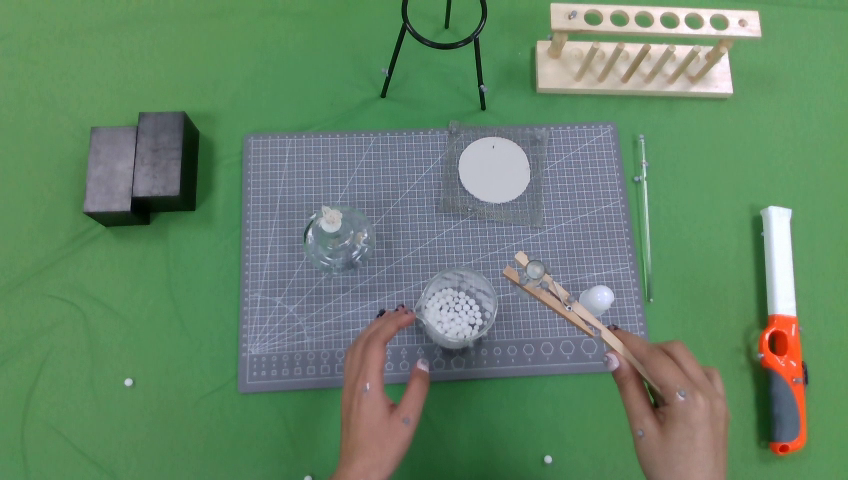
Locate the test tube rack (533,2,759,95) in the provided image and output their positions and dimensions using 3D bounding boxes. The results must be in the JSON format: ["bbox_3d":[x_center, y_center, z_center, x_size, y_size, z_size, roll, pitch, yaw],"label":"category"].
[{"bbox_3d":[0.260,-0.227,0.726,0.242,0.085,0.066,1,75,-2],"label":"test tube rack"}]

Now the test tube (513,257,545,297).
[{"bbox_3d":[0.087,0.034,0.512,0.017,0.151,0.017,-1,79,5],"label":"test tube"}]

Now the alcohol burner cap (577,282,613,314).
[{"bbox_3d":[0.190,0.061,0.666,0.034,0.048,0.033,1,75,-2],"label":"alcohol burner cap"}]

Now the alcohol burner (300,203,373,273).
[{"bbox_3d":[-0.094,-0.008,0.636,0.078,0.119,0.077,0,74,0],"label":"alcohol burner"}]

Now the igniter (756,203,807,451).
[{"bbox_3d":[0.396,0.092,0.677,0.057,0.025,0.275,8,75,-10],"label":"igniter"}]

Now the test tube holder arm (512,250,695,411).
[{"bbox_3d":[0.139,0.069,0.477,0.177,0.015,0.013,40,91,12],"label":"test tube holder arm"}]

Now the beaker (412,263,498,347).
[{"bbox_3d":[0.029,0.072,0.627,0.084,0.101,0.073,-10,75,-4],"label":"beaker"}]

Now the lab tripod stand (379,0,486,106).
[{"bbox_3d":[0.014,-0.222,0.690,0.148,0.132,0.147,0,77,-2],"label":"lab tripod stand"}]

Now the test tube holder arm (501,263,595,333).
[{"bbox_3d":[0.101,0.047,0.486,0.087,0.015,0.010,34,89,12],"label":"test tube holder arm"}]

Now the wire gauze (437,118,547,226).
[{"bbox_3d":[0.082,-0.084,0.718,0.125,0.011,0.121,8,76,-1],"label":"wire gauze"}]

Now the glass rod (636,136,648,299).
[{"bbox_3d":[0.257,-0.029,0.713,0.008,0.008,0.199,3,77,-2],"label":"glass rod"}]
